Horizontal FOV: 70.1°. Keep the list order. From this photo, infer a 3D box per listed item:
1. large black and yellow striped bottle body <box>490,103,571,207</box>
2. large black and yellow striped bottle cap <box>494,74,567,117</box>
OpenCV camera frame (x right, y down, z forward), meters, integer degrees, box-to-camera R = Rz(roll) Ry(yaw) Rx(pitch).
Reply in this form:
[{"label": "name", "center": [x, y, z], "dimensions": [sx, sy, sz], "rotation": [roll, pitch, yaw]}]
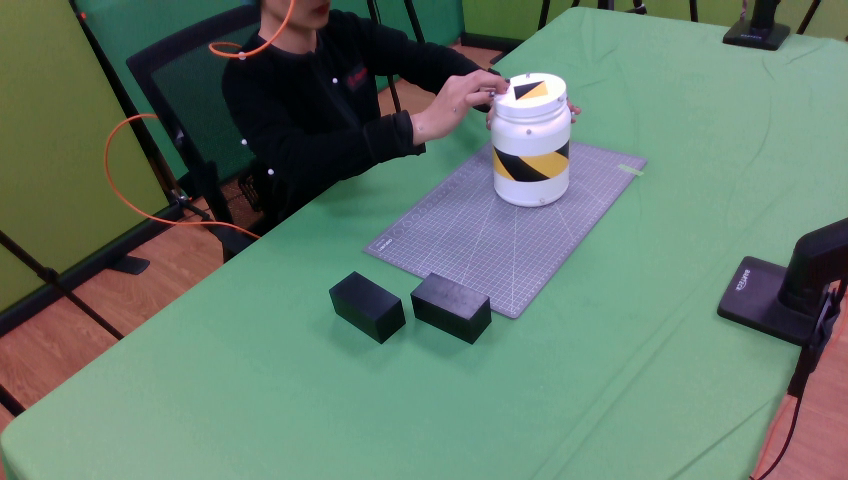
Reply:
[{"label": "large black and yellow striped bottle body", "center": [0.179, -0.163, 1.011], "dimensions": [0.131, 0.185, 0.130], "rotation": [-5, 40, 5]}, {"label": "large black and yellow striped bottle cap", "center": [0.167, -0.230, 0.956], "dimensions": [0.115, 0.019, 0.114], "rotation": [-7, 40, 7]}]
